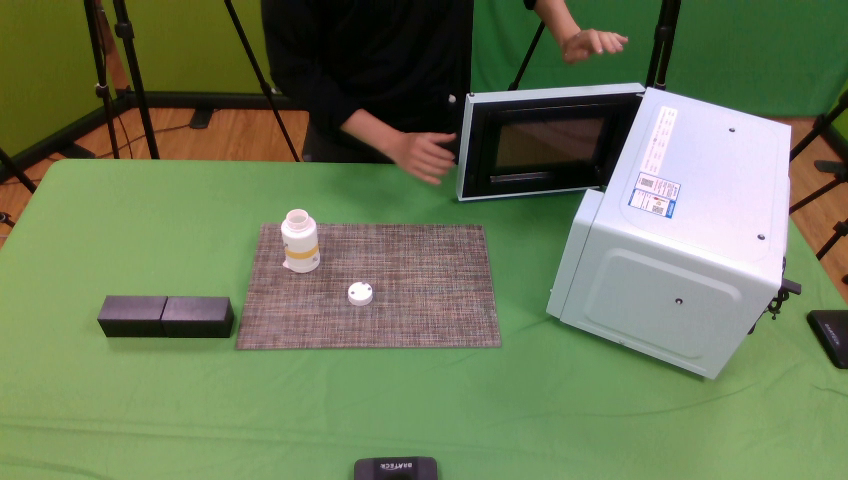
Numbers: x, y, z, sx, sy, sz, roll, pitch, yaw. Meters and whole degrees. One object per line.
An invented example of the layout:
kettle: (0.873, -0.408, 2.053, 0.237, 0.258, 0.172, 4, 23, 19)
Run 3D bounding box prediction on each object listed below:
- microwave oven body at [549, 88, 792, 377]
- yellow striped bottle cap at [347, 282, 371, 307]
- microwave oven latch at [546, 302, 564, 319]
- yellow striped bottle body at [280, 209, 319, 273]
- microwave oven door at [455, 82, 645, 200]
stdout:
microwave oven body: (0.456, -0.028, 1.088, 0.325, 0.261, 0.440, 20, 47, 16)
yellow striped bottle cap: (-0.117, 0.098, 1.093, 0.044, 0.019, 0.044, 3, 45, -3)
microwave oven latch: (0.242, 0.102, 1.081, 0.030, 0.029, 0.079, 22, 48, 17)
yellow striped bottle body: (-0.227, -0.001, 1.106, 0.063, 0.121, 0.062, 2, 46, -2)
microwave oven door: (0.248, -0.198, 1.229, 0.356, 0.245, 0.039, -6, 47, -10)
